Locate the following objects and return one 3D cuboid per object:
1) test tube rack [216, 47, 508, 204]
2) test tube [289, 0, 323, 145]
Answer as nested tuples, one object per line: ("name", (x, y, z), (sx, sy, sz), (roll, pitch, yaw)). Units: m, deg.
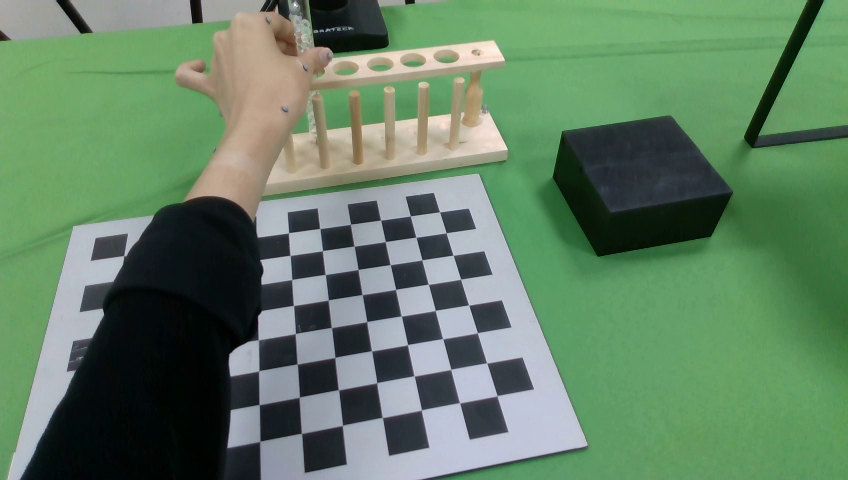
("test tube rack", (-0.048, -0.102, 0.532), (0.243, 0.086, 0.066), (-9, 47, -9))
("test tube", (-0.094, -0.138, 0.496), (0.017, 0.151, 0.017), (1, 49, -1))
